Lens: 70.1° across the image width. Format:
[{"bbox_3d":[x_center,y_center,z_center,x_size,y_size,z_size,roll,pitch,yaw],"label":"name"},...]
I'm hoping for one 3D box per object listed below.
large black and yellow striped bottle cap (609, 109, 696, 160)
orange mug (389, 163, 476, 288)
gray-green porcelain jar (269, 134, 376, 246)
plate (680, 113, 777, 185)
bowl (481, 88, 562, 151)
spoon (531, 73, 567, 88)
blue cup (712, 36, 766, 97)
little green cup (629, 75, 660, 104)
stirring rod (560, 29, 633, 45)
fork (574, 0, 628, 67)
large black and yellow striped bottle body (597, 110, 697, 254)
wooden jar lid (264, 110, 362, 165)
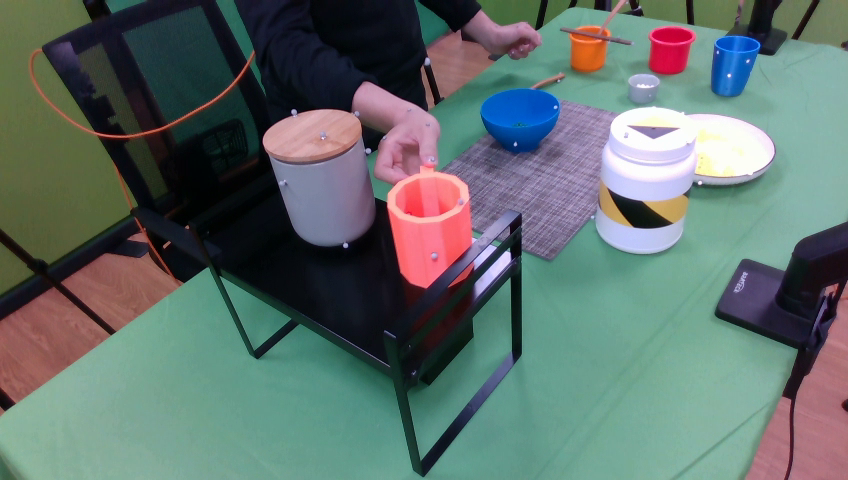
[{"bbox_3d":[0.319,-0.150,0.849,0.115,0.019,0.114,-4,39,3],"label":"large black and yellow striped bottle cap"},{"bbox_3d":[0.010,-0.025,0.668,0.083,0.101,0.125,-7,46,2],"label":"orange mug"},{"bbox_3d":[-0.115,-0.064,0.715,0.106,0.127,0.105,-4,40,4],"label":"gray-green porcelain jar"},{"bbox_3d":[0.506,-0.158,1.073,0.209,0.038,0.208,-4,40,4],"label":"plate"},{"bbox_3d":[0.187,-0.223,1.161,0.151,0.077,0.150,-4,40,4],"label":"bowl"},{"bbox_3d":[0.249,-0.336,1.332,0.194,0.022,0.041,-32,33,-25],"label":"spoon"},{"bbox_3d":[0.627,-0.350,1.227,0.092,0.100,0.092,-4,39,4],"label":"blue cup"},{"bbox_3d":[0.457,-0.314,1.260,0.061,0.039,0.061,-4,40,4],"label":"little green cup"},{"bbox_3d":[0.381,-0.452,1.344,0.174,0.006,0.014,25,49,33],"label":"stirring rod"},{"bbox_3d":[0.413,-0.481,1.377,0.207,0.019,0.028,-56,43,12],"label":"fork"},{"bbox_3d":[0.331,-0.086,0.904,0.131,0.185,0.130,-5,41,4],"label":"large black and yellow striped bottle body"},{"bbox_3d":[-0.122,-0.112,0.673,0.108,0.021,0.108,-4,37,4],"label":"wooden jar lid"}]
